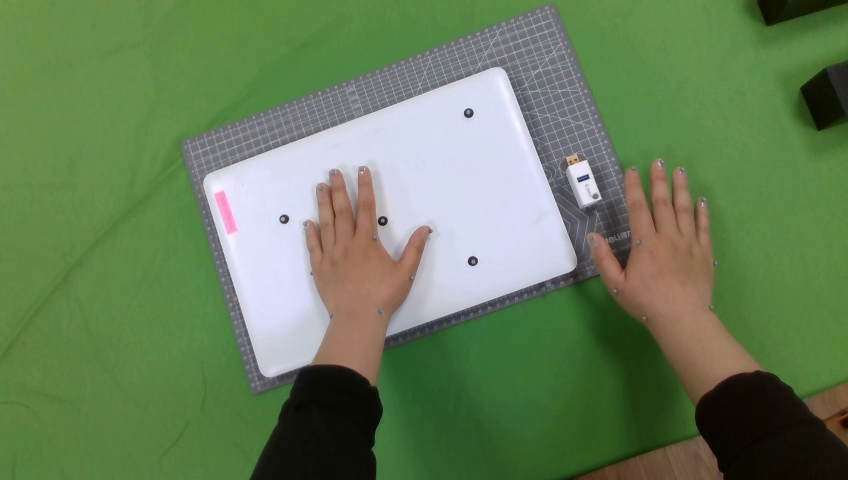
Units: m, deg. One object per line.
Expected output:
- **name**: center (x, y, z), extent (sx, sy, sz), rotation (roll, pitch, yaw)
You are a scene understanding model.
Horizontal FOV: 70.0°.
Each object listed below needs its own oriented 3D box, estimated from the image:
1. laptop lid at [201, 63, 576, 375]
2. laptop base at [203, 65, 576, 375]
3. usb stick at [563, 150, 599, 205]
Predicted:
- **laptop lid**: center (-0.044, -0.023, 0.641), extent (0.357, 0.013, 0.241), rotation (-19, 84, 3)
- **laptop base**: center (-0.044, -0.023, 0.652), extent (0.354, 0.023, 0.235), rotation (-20, 84, 3)
- **usb stick**: center (0.161, -0.068, 0.630), extent (0.021, 0.027, 0.059), rotation (-20, 77, 6)
